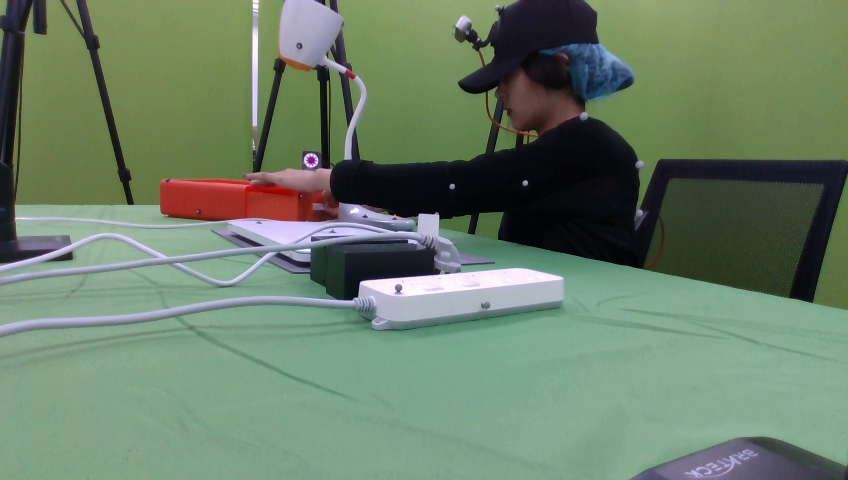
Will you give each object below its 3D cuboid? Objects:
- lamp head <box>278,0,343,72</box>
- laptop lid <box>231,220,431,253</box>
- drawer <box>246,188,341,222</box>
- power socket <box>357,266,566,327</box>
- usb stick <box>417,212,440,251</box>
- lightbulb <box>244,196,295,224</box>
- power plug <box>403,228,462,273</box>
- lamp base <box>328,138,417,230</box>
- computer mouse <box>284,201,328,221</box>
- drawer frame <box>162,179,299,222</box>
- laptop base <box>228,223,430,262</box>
[{"bbox_3d":[-0.218,-0.376,1.126,0.112,0.123,0.112,17,10,-3],"label":"lamp head"},{"bbox_3d":[-0.142,-0.009,0.942,0.243,0.013,0.355,1,7,-31],"label":"laptop lid"},{"bbox_3d":[-0.312,-0.078,1.296,0.211,0.073,0.195,4,9,17],"label":"drawer"},{"bbox_3d":[0.042,0.049,0.573,0.228,0.032,0.072,-3,8,-34],"label":"power socket"},{"bbox_3d":[0.005,-0.003,0.722,0.027,0.059,0.021,0,-3,-2],"label":"usb stick"},{"bbox_3d":[-0.328,-0.070,1.285,0.108,0.059,0.059,-17,13,-17],"label":"lightbulb"},{"bbox_3d":[0.006,0.016,0.647,0.073,0.052,0.035,17,12,-6],"label":"power plug"},{"bbox_3d":[-0.104,-0.113,1.213,0.180,0.180,0.160,-2,6,-14],"label":"lamp base"},{"bbox_3d":[-0.251,-0.062,1.294,0.063,0.041,0.117,0,3,10],"label":"computer mouse"},{"bbox_3d":[-0.418,-0.089,1.329,0.213,0.082,0.202,4,8,18],"label":"drawer frame"},{"bbox_3d":[-0.145,0.002,0.943,0.237,0.023,0.352,2,6,-32],"label":"laptop base"}]
